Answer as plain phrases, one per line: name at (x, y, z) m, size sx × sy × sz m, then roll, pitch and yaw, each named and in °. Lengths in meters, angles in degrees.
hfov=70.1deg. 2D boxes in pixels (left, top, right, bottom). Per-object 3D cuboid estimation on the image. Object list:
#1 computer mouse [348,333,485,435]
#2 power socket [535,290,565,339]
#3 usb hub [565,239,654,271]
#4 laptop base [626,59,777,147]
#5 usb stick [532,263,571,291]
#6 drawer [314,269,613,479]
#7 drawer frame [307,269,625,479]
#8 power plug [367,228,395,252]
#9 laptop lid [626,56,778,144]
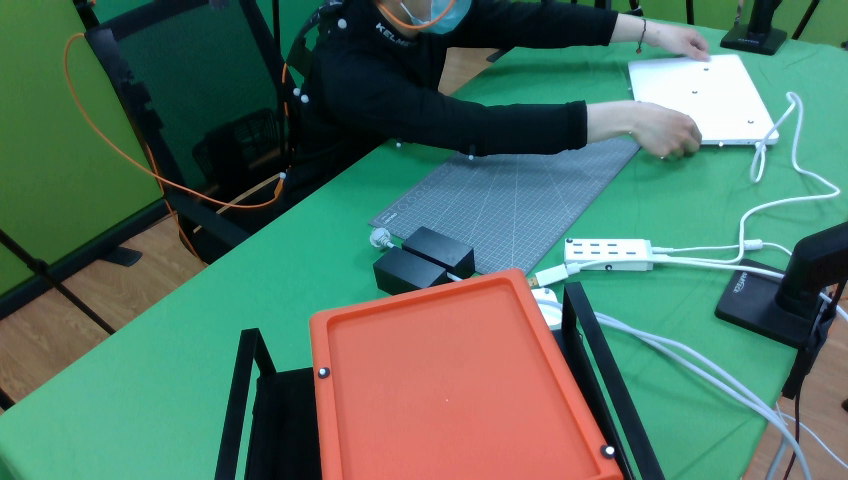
computer mouse at (-0.006, 0.121, 0.527) m, size 0.117 × 0.041 × 0.063 m, roll 20°, pitch 40°, yaw 14°
power socket at (0.081, 0.112, 0.822) m, size 0.227 × 0.033 × 0.072 m, roll -7°, pitch 41°, yaw 0°
usb hub at (0.275, 0.022, 0.906) m, size 0.125 × 0.025 × 0.049 m, roll 1°, pitch 41°, yaw 9°
laptop base at (0.547, -0.281, 1.228) m, size 0.235 × 0.023 × 0.353 m, roll 0°, pitch 40°, yaw 12°
usb stick at (0.181, 0.058, 0.876) m, size 0.059 × 0.027 × 0.021 m, roll -33°, pitch 90°, yaw -6°
drawer at (0.018, 0.135, 0.490) m, size 0.195 × 0.073 × 0.210 m, roll -11°, pitch 41°, yaw -5°
drawer frame at (0.019, 0.135, 0.487) m, size 0.202 × 0.083 × 0.212 m, roll -12°, pitch 41°, yaw -7°
power plug at (-0.066, 0.010, 0.956) m, size 0.035 × 0.053 × 0.072 m, roll -31°, pitch 55°, yaw 2°
laptop lid at (0.543, -0.291, 1.220) m, size 0.241 × 0.013 × 0.356 m, roll 2°, pitch 41°, yaw 13°
